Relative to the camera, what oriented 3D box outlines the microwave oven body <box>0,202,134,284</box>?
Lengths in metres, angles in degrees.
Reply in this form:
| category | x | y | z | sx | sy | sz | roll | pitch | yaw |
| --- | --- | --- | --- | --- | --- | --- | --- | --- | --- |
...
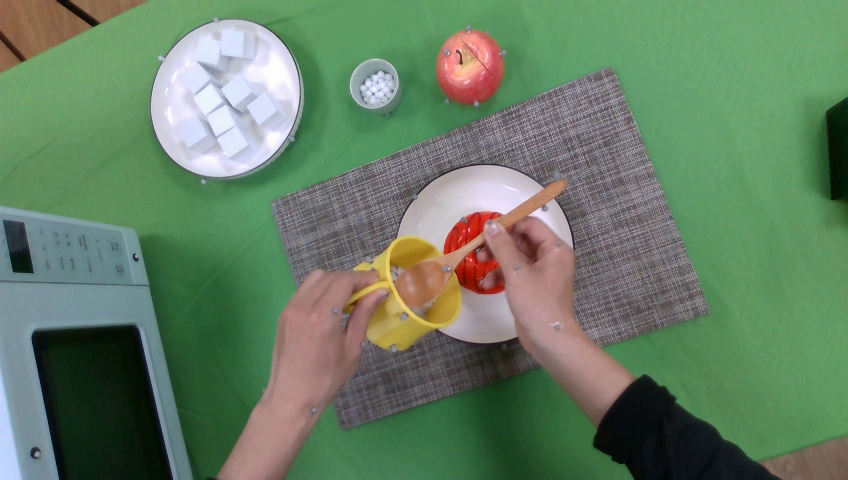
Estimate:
| category | x | y | z | sx | sy | sz | roll | pitch | yaw |
| --- | --- | --- | --- | --- | --- | --- | --- | --- | --- |
| microwave oven body | -0.492 | 0.219 | 0.684 | 0.326 | 0.261 | 0.440 | -17 | 83 | 9 |

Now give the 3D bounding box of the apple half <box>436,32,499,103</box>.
| category | x | y | z | sx | sy | sz | roll | pitch | yaw |
| --- | --- | --- | --- | --- | --- | --- | --- | --- | --- |
| apple half | 0.044 | -0.192 | 0.708 | 0.053 | 0.075 | 0.080 | -41 | 83 | 10 |

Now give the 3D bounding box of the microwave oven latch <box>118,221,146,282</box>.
| category | x | y | z | sx | sy | sz | roll | pitch | yaw |
| --- | --- | --- | --- | --- | --- | --- | --- | --- | --- |
| microwave oven latch | -0.381 | 0.016 | 0.775 | 0.030 | 0.029 | 0.079 | -15 | 84 | 9 |

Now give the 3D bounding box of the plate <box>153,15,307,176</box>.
| category | x | y | z | sx | sy | sz | roll | pitch | yaw |
| --- | --- | --- | --- | --- | --- | --- | --- | --- | --- |
| plate | -0.246 | -0.182 | 0.782 | 0.207 | 0.039 | 0.207 | -1 | 86 | 11 |

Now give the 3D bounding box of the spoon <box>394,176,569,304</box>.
| category | x | y | z | sx | sy | sz | roll | pitch | yaw |
| --- | --- | --- | --- | --- | --- | --- | --- | --- | --- |
| spoon | 0.053 | -0.001 | 0.567 | 0.194 | 0.022 | 0.041 | -35 | 73 | 14 |

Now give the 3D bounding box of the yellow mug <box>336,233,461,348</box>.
| category | x | y | z | sx | sy | sz | roll | pitch | yaw |
| --- | --- | --- | --- | --- | --- | --- | --- | --- | --- |
| yellow mug | -0.030 | 0.051 | 0.594 | 0.064 | 0.131 | 0.099 | -34 | 71 | 37 |

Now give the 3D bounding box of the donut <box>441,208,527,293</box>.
| category | x | y | z | sx | sy | sz | roll | pitch | yaw |
| --- | --- | --- | --- | --- | --- | --- | --- | --- | --- |
| donut | 0.068 | 0.012 | 0.691 | 0.099 | 0.048 | 0.099 | 0 | 88 | 12 |

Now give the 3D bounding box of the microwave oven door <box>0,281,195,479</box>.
| category | x | y | z | sx | sy | sz | roll | pitch | yaw |
| --- | --- | --- | --- | --- | --- | --- | --- | --- | --- |
| microwave oven door | -0.344 | 0.218 | 0.650 | 0.039 | 0.245 | 0.354 | -17 | 82 | 9 |

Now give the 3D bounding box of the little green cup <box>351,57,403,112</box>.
| category | x | y | z | sx | sy | sz | roll | pitch | yaw |
| --- | --- | --- | --- | --- | --- | --- | --- | --- | --- |
| little green cup | -0.056 | -0.188 | 0.744 | 0.061 | 0.039 | 0.061 | -1 | 85 | 12 |

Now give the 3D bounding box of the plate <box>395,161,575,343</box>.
| category | x | y | z | sx | sy | sz | roll | pitch | yaw |
| --- | --- | --- | --- | --- | --- | --- | --- | --- | --- |
| plate | 0.068 | 0.014 | 0.702 | 0.209 | 0.038 | 0.208 | -1 | 86 | 11 |

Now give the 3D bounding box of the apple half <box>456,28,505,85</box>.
| category | x | y | z | sx | sy | sz | roll | pitch | yaw |
| --- | --- | --- | --- | --- | --- | --- | --- | --- | --- |
| apple half | 0.073 | -0.218 | 0.703 | 0.033 | 0.081 | 0.081 | -41 | 79 | 10 |
